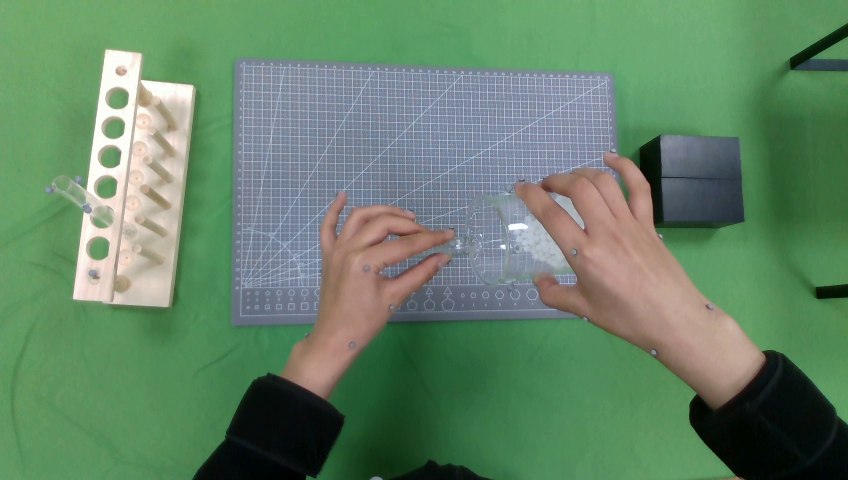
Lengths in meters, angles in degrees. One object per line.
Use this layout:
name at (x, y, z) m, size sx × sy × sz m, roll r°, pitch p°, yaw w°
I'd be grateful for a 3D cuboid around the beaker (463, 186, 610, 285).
beaker at (0.091, -0.006, 0.493) m, size 0.100 × 0.084 × 0.074 m, roll -7°, pitch 85°, yaw -21°

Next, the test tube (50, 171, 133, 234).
test tube at (-0.301, -0.030, 0.559) m, size 0.017 × 0.150 × 0.017 m, roll 2°, pitch 76°, yaw -6°

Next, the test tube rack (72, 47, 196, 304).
test tube rack at (-0.289, -0.060, 0.614) m, size 0.067 × 0.085 × 0.241 m, roll 4°, pitch 83°, yaw -7°

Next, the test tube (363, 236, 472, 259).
test tube at (-0.012, 0.008, 0.568) m, size 0.017 × 0.149 × 0.017 m, roll 3°, pitch 85°, yaw -40°
